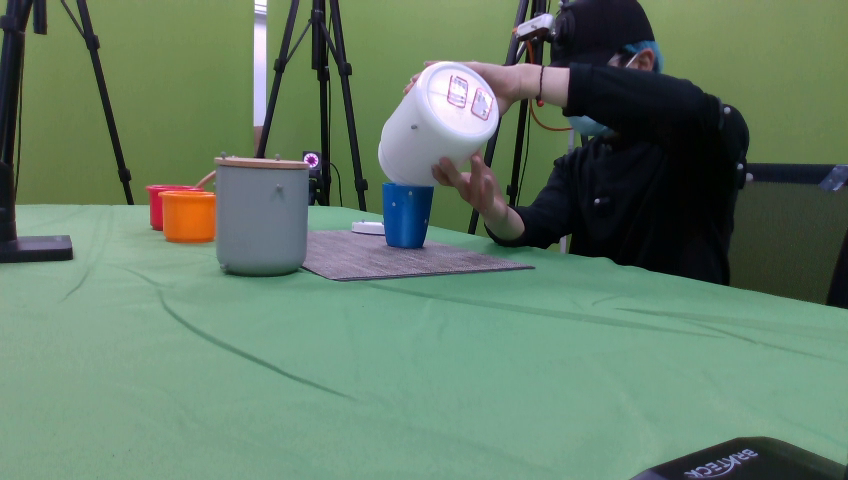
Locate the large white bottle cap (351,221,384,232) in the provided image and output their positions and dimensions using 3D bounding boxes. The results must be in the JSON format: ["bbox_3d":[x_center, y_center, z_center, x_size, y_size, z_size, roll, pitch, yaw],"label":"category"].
[{"bbox_3d":[-0.082,-0.025,1.162,0.115,0.018,0.115,3,3,0],"label":"large white bottle cap"}]

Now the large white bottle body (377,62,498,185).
[{"bbox_3d":[0.012,-0.161,0.903,0.131,0.130,0.184,-1,-19,-27],"label":"large white bottle body"}]

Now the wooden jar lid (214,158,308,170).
[{"bbox_3d":[-0.193,-0.085,0.719,0.108,0.020,0.108,2,9,0],"label":"wooden jar lid"}]

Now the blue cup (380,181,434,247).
[{"bbox_3d":[-0.029,-0.042,0.979,0.093,0.100,0.092,2,9,0],"label":"blue cup"}]

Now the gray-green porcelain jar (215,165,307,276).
[{"bbox_3d":[-0.195,-0.024,0.726,0.106,0.126,0.106,3,7,0],"label":"gray-green porcelain jar"}]

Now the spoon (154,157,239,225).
[{"bbox_3d":[-0.411,-0.092,1.104,0.041,0.022,0.194,13,56,51],"label":"spoon"}]

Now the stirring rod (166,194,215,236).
[{"bbox_3d":[-0.341,-0.066,0.967,0.176,0.006,0.014,-42,23,-9],"label":"stirring rod"}]
